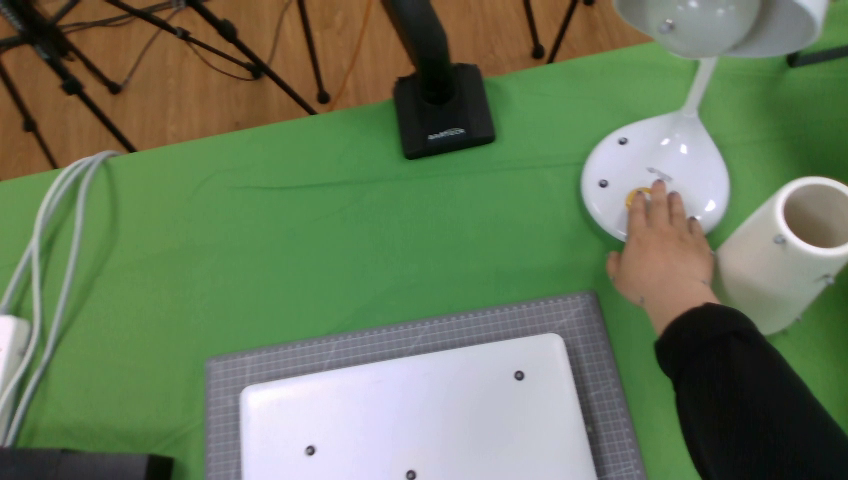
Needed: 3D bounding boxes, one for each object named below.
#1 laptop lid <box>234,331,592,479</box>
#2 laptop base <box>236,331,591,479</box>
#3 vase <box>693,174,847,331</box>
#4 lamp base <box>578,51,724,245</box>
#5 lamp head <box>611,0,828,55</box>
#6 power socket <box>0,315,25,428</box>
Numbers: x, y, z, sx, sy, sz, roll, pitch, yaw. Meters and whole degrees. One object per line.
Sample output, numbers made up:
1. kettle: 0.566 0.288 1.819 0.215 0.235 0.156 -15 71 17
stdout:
1. laptop lid: -0.017 0.231 0.599 0.356 0.013 0.240 -9 68 5
2. laptop base: -0.016 0.234 0.611 0.354 0.023 0.233 -11 69 4
3. vase: 0.315 0.016 0.554 0.098 0.202 0.097 -4 66 9
4. lamp base: 0.252 -0.109 0.626 0.160 0.182 0.178 22 69 17
5. lamp head: 0.176 -0.177 0.338 0.112 0.113 0.123 18 89 16
6. power socket: -0.523 0.191 0.697 0.072 0.033 0.225 -3 66 6
